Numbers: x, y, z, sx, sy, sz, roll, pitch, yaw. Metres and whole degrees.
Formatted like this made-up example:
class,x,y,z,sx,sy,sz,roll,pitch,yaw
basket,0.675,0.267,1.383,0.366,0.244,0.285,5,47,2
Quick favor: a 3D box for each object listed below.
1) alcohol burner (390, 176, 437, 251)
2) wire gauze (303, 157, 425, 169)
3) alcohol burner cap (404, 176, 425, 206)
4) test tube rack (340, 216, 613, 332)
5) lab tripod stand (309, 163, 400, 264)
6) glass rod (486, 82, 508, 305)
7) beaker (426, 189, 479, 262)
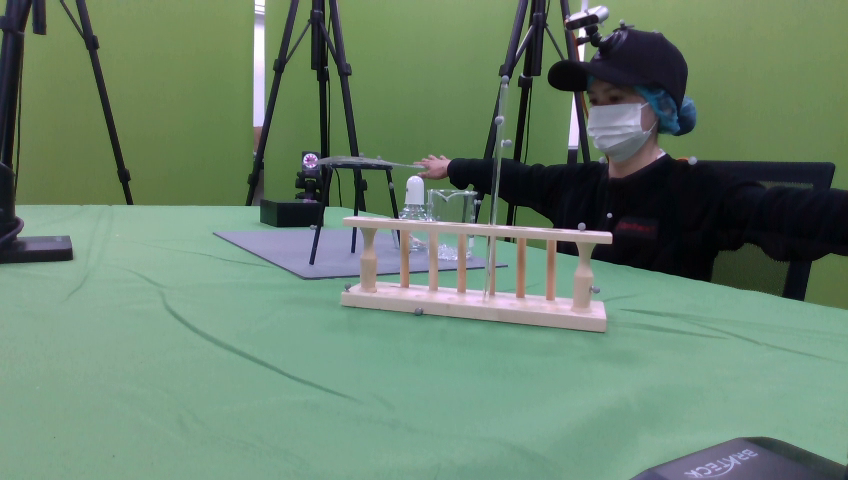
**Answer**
class,x,y,z,sx,sy,sz,roll,pitch,yaw
alcohol burner,-0.016,-0.042,0.955,0.078,0.119,0.078,4,6,0
wire gauze,-0.082,-0.102,0.799,0.126,0.011,0.121,-1,7,-30
alcohol burner cap,-0.015,-0.077,0.951,0.034,0.048,0.034,3,4,0
test tube rack,0.047,0.026,0.568,0.242,0.085,0.067,4,8,13
lab tripod stand,-0.091,-0.037,0.813,0.148,0.131,0.148,1,6,0
glass rod,0.064,-0.035,0.528,0.008,0.199,0.008,2,13,0
beaker,0.039,-0.022,0.871,0.074,0.100,0.084,4,8,12
